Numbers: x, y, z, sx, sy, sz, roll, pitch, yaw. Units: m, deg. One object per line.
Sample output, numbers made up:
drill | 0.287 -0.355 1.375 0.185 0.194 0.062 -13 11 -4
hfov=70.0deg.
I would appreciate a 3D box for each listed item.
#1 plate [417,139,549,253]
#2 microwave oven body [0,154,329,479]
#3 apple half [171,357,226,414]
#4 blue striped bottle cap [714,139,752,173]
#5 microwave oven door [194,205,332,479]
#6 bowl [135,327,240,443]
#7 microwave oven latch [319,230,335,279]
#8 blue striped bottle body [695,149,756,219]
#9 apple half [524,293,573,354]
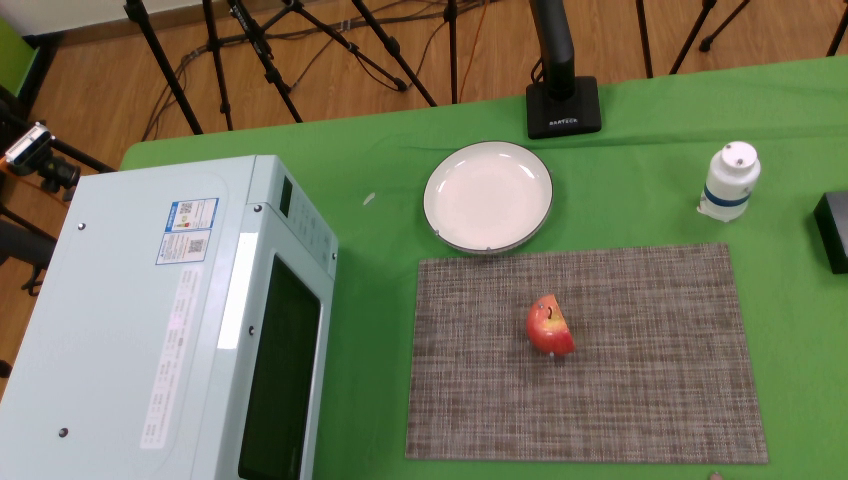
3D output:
plate | 0.094 -0.067 0.966 0.207 0.039 0.206 -6 61 11
microwave oven body | -0.331 0.146 0.827 0.325 0.263 0.438 -5 62 11
apple half | -0.311 0.198 0.826 0.081 0.033 0.081 -2 76 8
blue striped bottle cap | 0.407 -0.110 0.798 0.044 0.021 0.044 -6 63 12
microwave oven door | -0.190 0.167 0.773 0.039 0.246 0.352 -6 61 12
bowl | -0.308 0.203 0.835 0.151 0.077 0.150 -6 70 18
microwave oven latch | -0.160 0.023 0.962 0.030 0.030 0.078 -5 62 11
blue striped bottle body | 0.419 -0.085 0.841 0.063 0.122 0.062 -6 60 12
apple half | 0.164 0.119 0.821 0.053 0.075 0.080 -23 62 6
